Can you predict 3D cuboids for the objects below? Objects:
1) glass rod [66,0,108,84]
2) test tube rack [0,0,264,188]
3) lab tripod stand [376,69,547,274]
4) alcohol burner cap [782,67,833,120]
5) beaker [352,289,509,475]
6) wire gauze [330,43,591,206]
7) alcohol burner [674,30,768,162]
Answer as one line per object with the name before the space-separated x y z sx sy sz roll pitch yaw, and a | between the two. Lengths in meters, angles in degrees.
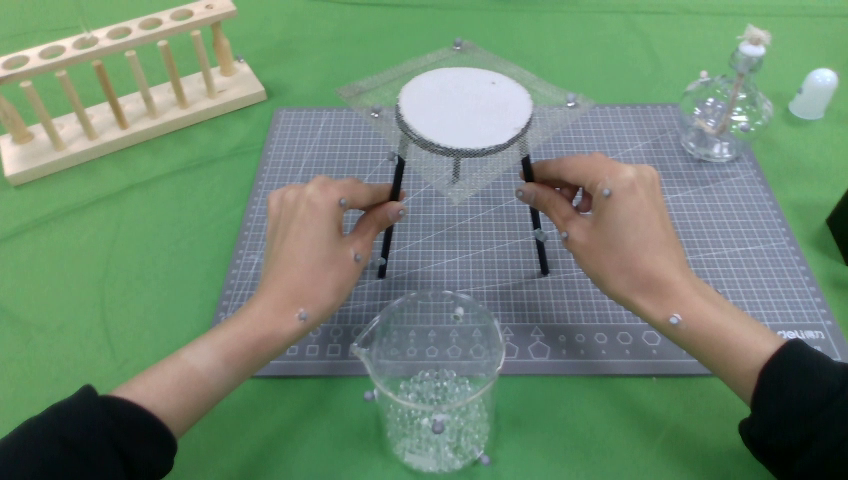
glass rod | -0.296 -0.186 0.520 0.008 0.201 0.008 3 50 -3
test tube rack | -0.285 -0.142 0.570 0.242 0.086 0.066 -25 53 -19
lab tripod stand | 0.029 -0.043 0.440 0.148 0.132 0.147 0 48 0
alcohol burner cap | 0.371 -0.144 0.581 0.034 0.048 0.033 0 49 1
beaker | 0.004 0.088 0.355 0.084 0.101 0.073 2 49 4
wire gauze | 0.022 -0.085 0.387 0.121 0.011 0.124 -33 57 -26
alcohol burner | 0.259 -0.126 0.518 0.078 0.120 0.077 0 51 1
